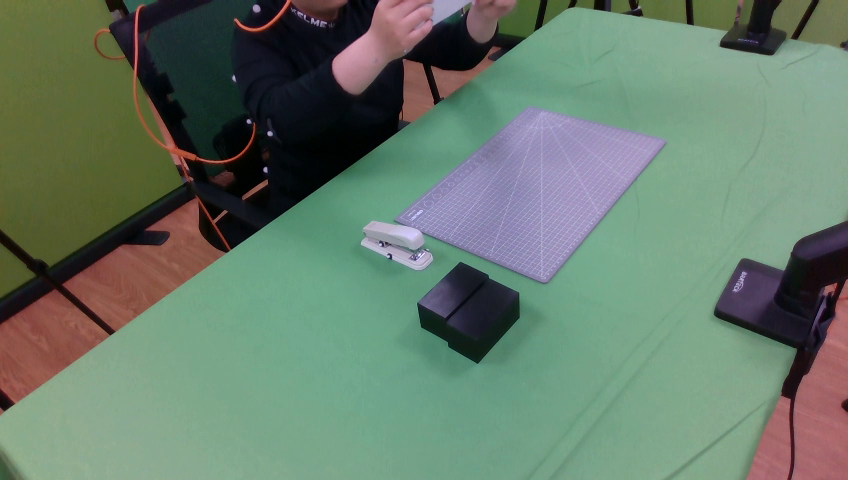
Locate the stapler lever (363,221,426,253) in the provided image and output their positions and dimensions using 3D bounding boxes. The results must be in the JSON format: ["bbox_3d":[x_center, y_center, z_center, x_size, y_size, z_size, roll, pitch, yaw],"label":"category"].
[{"bbox_3d":[-0.049,-0.011,0.958,0.117,0.040,0.027,21,46,32],"label":"stapler lever"}]

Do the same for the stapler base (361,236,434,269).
[{"bbox_3d":[-0.044,0.009,0.974,0.129,0.024,0.041,21,46,32],"label":"stapler base"}]
